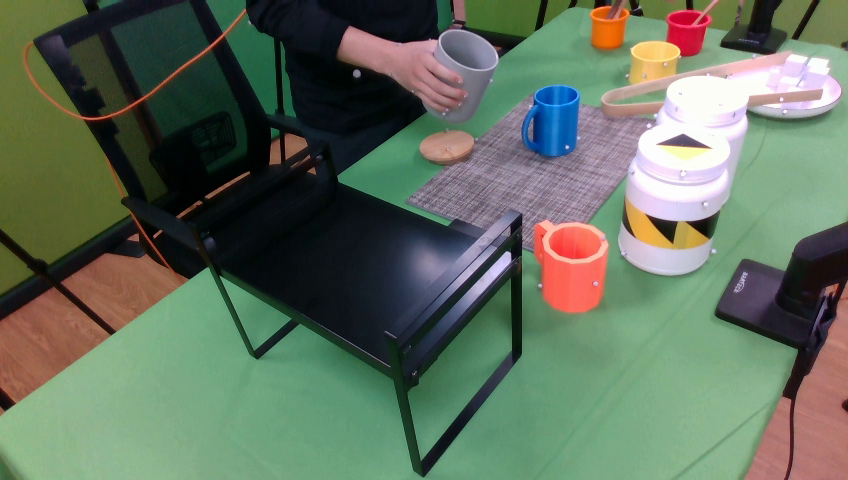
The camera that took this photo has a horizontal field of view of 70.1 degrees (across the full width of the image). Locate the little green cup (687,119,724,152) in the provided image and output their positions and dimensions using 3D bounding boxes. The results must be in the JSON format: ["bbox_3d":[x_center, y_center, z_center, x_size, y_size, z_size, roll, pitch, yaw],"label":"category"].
[{"bbox_3d":[0.513,-0.191,1.109,0.061,0.039,0.061,-5,40,5],"label":"little green cup"}]

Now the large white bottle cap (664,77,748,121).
[{"bbox_3d":[0.421,-0.212,0.905,0.115,0.018,0.114,-4,40,4],"label":"large white bottle cap"}]

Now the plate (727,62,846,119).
[{"bbox_3d":[0.709,-0.292,1.197,0.207,0.039,0.206,-4,40,4],"label":"plate"}]

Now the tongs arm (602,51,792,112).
[{"bbox_3d":[0.552,-0.320,1.224,0.384,0.027,0.050,-10,43,7],"label":"tongs arm"}]

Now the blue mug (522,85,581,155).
[{"bbox_3d":[0.233,-0.218,1.127,0.117,0.106,0.081,-23,43,-16],"label":"blue mug"}]

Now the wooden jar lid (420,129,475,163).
[{"bbox_3d":[0.047,-0.183,1.183,0.108,0.021,0.108,-6,37,5],"label":"wooden jar lid"}]

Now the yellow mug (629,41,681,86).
[{"bbox_3d":[0.494,-0.389,1.321,0.100,0.064,0.130,-14,40,-7],"label":"yellow mug"}]

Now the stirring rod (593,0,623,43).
[{"bbox_3d":[0.460,-0.557,1.461,0.014,0.176,0.006,35,11,22],"label":"stirring rod"}]

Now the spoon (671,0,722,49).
[{"bbox_3d":[0.639,-0.510,1.380,0.193,0.022,0.041,-49,40,19],"label":"spoon"}]

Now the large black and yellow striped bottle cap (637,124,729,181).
[{"bbox_3d":[0.346,-0.119,0.810,0.115,0.019,0.114,-5,41,4],"label":"large black and yellow striped bottle cap"}]

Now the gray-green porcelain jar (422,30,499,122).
[{"bbox_3d":[0.058,-0.276,1.041,0.106,0.126,0.105,11,51,-13],"label":"gray-green porcelain jar"}]

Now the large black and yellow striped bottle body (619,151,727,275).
[{"bbox_3d":[0.354,-0.056,0.865,0.131,0.185,0.130,-4,41,4],"label":"large black and yellow striped bottle body"}]

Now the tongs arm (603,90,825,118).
[{"bbox_3d":[0.546,-0.262,1.163,0.386,0.028,0.028,-1,49,18],"label":"tongs arm"}]

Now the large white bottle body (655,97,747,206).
[{"bbox_3d":[0.430,-0.148,0.959,0.130,0.185,0.130,-4,41,4],"label":"large white bottle body"}]

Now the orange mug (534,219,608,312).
[{"bbox_3d":[0.200,0.027,0.858,0.084,0.101,0.125,-24,48,-18],"label":"orange mug"}]

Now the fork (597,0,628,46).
[{"bbox_3d":[0.479,-0.558,1.455,0.028,0.019,0.207,36,100,39],"label":"fork"}]
